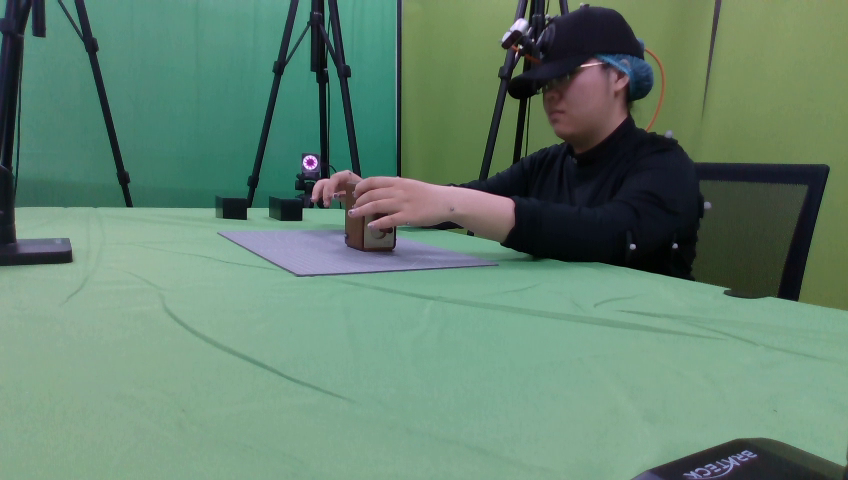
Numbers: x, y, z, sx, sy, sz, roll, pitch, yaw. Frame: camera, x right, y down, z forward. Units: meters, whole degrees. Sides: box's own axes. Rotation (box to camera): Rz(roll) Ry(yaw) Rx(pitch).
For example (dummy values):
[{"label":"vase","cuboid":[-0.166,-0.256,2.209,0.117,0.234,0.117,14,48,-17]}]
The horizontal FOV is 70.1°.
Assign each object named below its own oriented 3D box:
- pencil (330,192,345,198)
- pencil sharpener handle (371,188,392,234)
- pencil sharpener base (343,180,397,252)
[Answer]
[{"label":"pencil","cuboid":[-0.141,-0.077,1.071,0.012,0.012,0.193,0,6,-22]},{"label":"pencil sharpener handle","cuboid":[-0.058,-0.044,0.913,0.036,0.067,0.030,-2,9,-31]},{"label":"pencil sharpener base","cuboid":[-0.085,-0.039,0.957,0.062,0.107,0.076,-1,9,-31]}]
